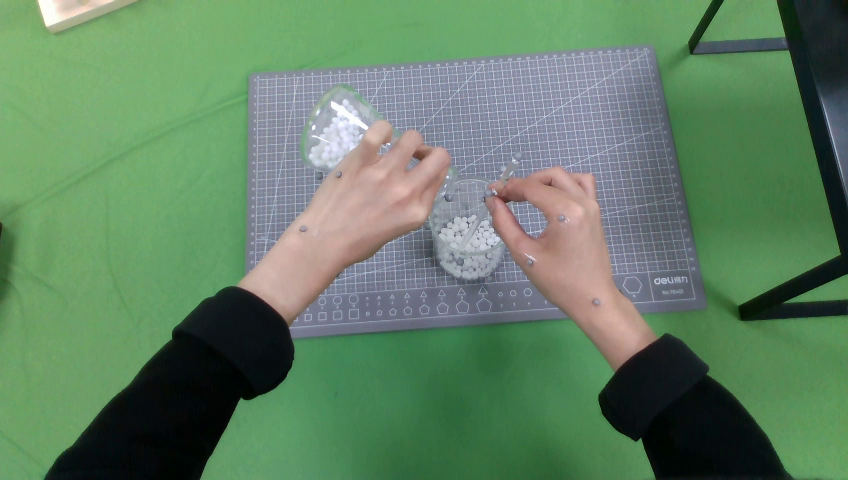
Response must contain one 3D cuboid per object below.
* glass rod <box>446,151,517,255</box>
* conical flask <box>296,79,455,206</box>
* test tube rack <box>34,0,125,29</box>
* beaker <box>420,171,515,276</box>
[{"bbox_3d":[0.043,-0.024,0.512,0.008,0.200,0.008,4,68,-10],"label":"glass rod"},{"bbox_3d":[-0.036,-0.072,0.495,0.122,0.075,0.075,28,75,3],"label":"conical flask"},{"bbox_3d":[-0.340,-0.333,0.682,0.242,0.085,0.066,-24,74,-6],"label":"test tube rack"},{"bbox_3d":[0.038,-0.011,0.565,0.084,0.101,0.073,19,74,9],"label":"beaker"}]
